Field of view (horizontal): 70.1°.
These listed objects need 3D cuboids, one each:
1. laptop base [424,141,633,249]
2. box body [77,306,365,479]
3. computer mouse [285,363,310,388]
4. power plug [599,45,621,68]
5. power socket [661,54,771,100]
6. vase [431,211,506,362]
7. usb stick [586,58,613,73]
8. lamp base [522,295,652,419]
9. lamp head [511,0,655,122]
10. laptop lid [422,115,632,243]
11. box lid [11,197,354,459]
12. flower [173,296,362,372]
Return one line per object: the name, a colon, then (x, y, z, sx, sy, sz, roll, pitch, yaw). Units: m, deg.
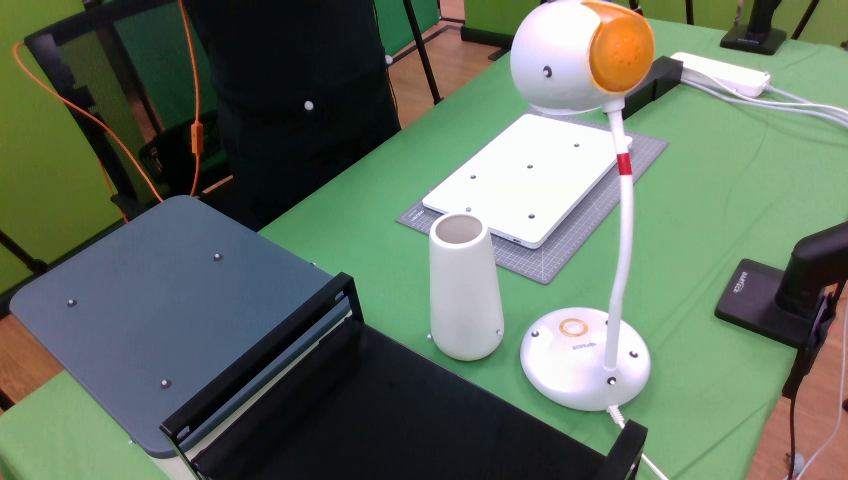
laptop base: (0.194, -0.117, 1.087, 0.233, 0.023, 0.355, 21, 47, 34)
box body: (-0.282, 0.128, 0.759, 0.361, 0.161, 0.255, 24, 49, 32)
computer mouse: (-0.161, 0.158, 0.791, 0.116, 0.041, 0.063, 26, 45, 23)
power plug: (0.437, -0.422, 1.413, 0.053, 0.035, 0.072, -18, 75, -47)
power socket: (0.615, -0.349, 1.285, 0.072, 0.033, 0.225, -36, 48, -29)
vase: (0.054, 0.062, 0.757, 0.098, 0.201, 0.097, -3, 40, 3)
usb stick: (0.401, -0.399, 1.381, 0.059, 0.027, 0.021, 0, 47, 21)
lamp base: (0.201, 0.095, 0.710, 0.161, 0.181, 0.177, -16, 43, -10)
lamp head: (0.155, -0.168, 0.564, 0.113, 0.113, 0.122, -18, 23, -12)
laptop lid: (0.190, -0.126, 1.081, 0.239, 0.013, 0.358, 23, 48, 34)
box lid: (-0.288, 0.072, 0.710, 0.368, 0.015, 0.264, 25, 50, 32)
flower: (-0.233, 0.115, 0.831, 0.359, 0.044, 0.038, 10, -2, 33)
